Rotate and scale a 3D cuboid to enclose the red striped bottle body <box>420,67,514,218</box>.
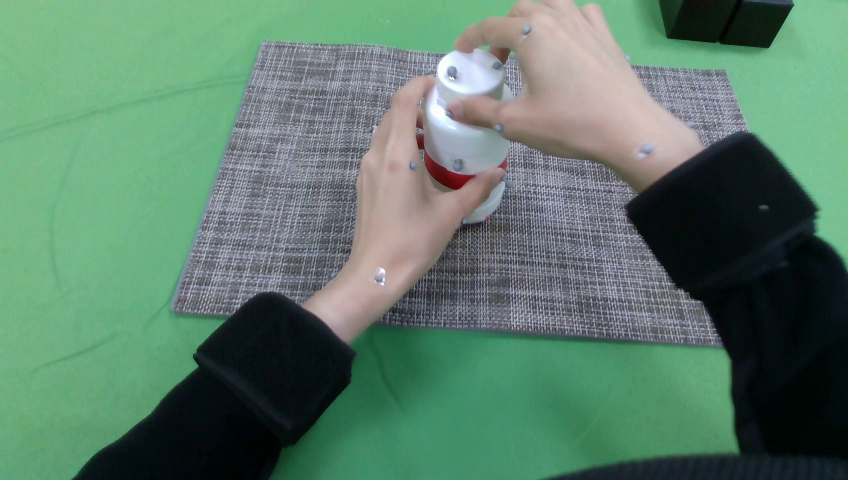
[{"bbox_3d":[0.029,-0.074,0.431,0.063,0.121,0.062,0,56,1],"label":"red striped bottle body"}]

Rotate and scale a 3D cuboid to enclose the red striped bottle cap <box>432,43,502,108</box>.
[{"bbox_3d":[0.027,-0.105,0.388,0.044,0.018,0.044,2,60,-3],"label":"red striped bottle cap"}]
